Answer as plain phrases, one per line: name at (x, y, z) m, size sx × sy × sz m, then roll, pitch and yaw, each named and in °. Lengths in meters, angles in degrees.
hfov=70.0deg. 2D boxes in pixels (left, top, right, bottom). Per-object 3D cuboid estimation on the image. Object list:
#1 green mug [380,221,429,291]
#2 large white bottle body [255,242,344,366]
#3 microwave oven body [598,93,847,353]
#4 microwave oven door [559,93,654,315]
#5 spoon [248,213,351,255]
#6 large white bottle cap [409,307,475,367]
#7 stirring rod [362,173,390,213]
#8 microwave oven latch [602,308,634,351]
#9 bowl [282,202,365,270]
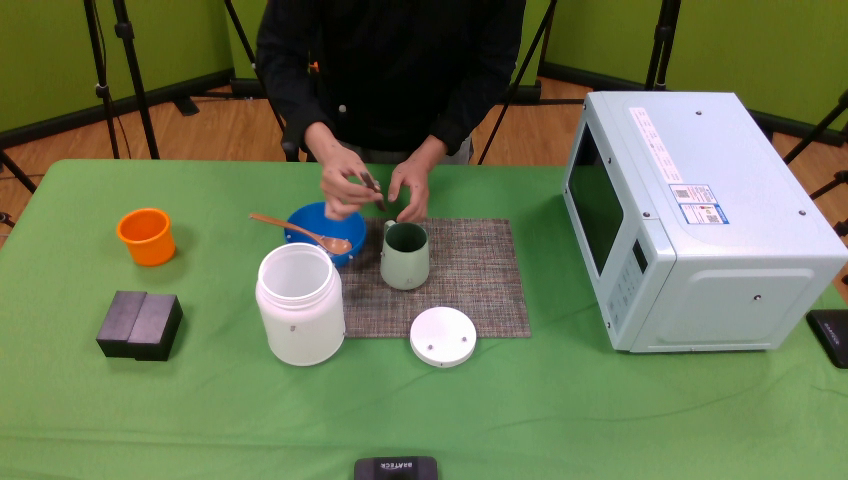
green mug at (-0.043, 0.020, 1.116) m, size 0.092 × 0.105 × 0.124 m, roll -20°, pitch 50°, yaw -21°
large white bottle body at (-0.196, 0.102, 0.967) m, size 0.131 × 0.185 × 0.130 m, roll 2°, pitch 49°, yaw -2°
microwave oven body at (0.475, -0.041, 1.109) m, size 0.326 × 0.261 × 0.438 m, roll -1°, pitch 45°, yaw -4°
microwave oven door at (0.327, -0.074, 1.123) m, size 0.039 × 0.245 × 0.353 m, roll 0°, pitch 46°, yaw -5°
spoon at (-0.228, -0.014, 1.113) m, size 0.194 × 0.022 × 0.041 m, roll 23°, pitch 40°, yaw -15°
large white bottle cap at (0.031, 0.165, 1.041) m, size 0.115 × 0.018 × 0.114 m, roll 2°, pitch 47°, yaw -2°
stirring rod at (-0.076, -0.073, 0.975) m, size 0.014 × 0.177 × 0.006 m, roll 12°, pitch 77°, yaw 10°
microwave oven latch at (0.332, 0.153, 1.044) m, size 0.030 × 0.029 × 0.078 m, roll -1°, pitch 45°, yaw -4°
bowl at (-0.185, 0.006, 1.137) m, size 0.151 × 0.077 × 0.150 m, roll 3°, pitch 46°, yaw -3°
